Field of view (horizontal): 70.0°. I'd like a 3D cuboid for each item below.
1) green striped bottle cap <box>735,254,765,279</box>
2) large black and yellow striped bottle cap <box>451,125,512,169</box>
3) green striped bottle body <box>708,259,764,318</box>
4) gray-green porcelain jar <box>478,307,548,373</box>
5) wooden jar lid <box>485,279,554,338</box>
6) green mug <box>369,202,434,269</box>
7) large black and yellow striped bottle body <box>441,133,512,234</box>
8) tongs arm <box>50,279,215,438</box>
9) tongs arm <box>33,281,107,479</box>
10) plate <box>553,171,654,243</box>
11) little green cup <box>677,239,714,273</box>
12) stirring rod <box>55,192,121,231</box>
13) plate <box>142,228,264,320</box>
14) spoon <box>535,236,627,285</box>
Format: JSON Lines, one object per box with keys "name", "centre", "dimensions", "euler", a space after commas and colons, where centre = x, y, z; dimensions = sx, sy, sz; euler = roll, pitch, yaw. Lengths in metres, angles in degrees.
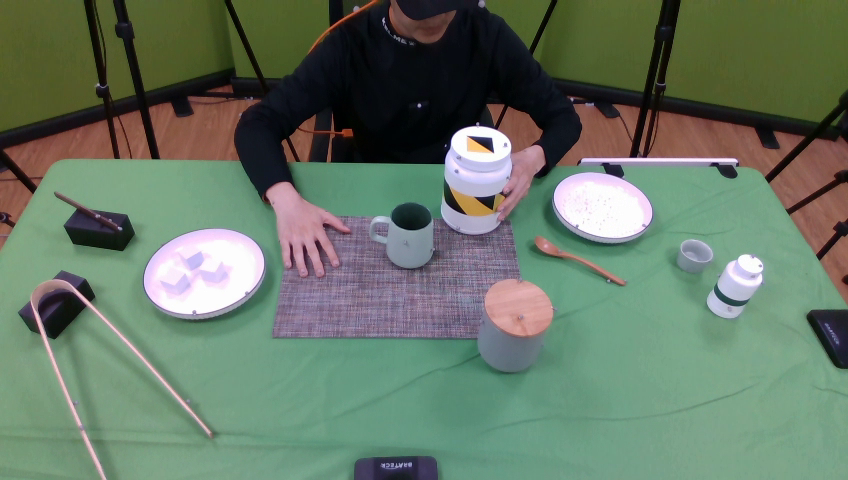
{"name": "green striped bottle cap", "centre": [0.566, 0.046, 1.051], "dimensions": [0.044, 0.020, 0.044], "euler": [0, 45, 0]}
{"name": "large black and yellow striped bottle cap", "centre": [0.109, -0.176, 1.140], "dimensions": [0.115, 0.019, 0.114], "euler": [1, 45, -1]}
{"name": "green striped bottle body", "centre": [0.563, 0.081, 1.089], "dimensions": [0.063, 0.120, 0.063], "euler": [2, 46, -2]}
{"name": "gray-green porcelain jar", "centre": [0.144, 0.148, 0.989], "dimensions": [0.106, 0.127, 0.105], "euler": [2, 50, -2]}
{"name": "wooden jar lid", "centre": [0.147, 0.108, 0.940], "dimensions": [0.108, 0.021, 0.107], "euler": [4, 47, -4]}
{"name": "green mug", "centre": [-0.043, -0.010, 1.140], "dimensions": [0.125, 0.105, 0.092], "euler": [8, 47, 4]}
{"name": "large black and yellow striped bottle body", "centre": [0.104, -0.117, 1.199], "dimensions": [0.131, 0.185, 0.130], "euler": [2, 44, -2]}
{"name": "tongs arm", "centre": [-0.459, 0.178, 0.949], "dimensions": [0.386, 0.028, 0.028], "euler": [37, 60, 17]}
{"name": "tongs arm", "centre": [-0.517, 0.214, 0.910], "dimensions": [0.051, 0.026, 0.383], "euler": [-28, 63, -27]}
{"name": "plate", "centre": [0.373, -0.066, 1.275], "dimensions": [0.209, 0.038, 0.208], "euler": [2, 46, -2]}
{"name": "little green cup", "centre": [0.530, 0.033, 1.189], "dimensions": [0.061, 0.039, 0.061], "euler": [2, 47, -2]}
{"name": "stirring rod", "centre": [-0.632, -0.055, 1.138], "dimensions": [0.175, 0.014, 0.006], "euler": [24, 50, 19]}
{"name": "plate", "centre": [-0.394, 0.064, 1.095], "dimensions": [0.208, 0.039, 0.206], "euler": [2, 46, -2]}
{"name": "spoon", "centre": [0.304, 0.040, 1.178], "dimensions": [0.193, 0.022, 0.041], "euler": [25, 34, 19]}
